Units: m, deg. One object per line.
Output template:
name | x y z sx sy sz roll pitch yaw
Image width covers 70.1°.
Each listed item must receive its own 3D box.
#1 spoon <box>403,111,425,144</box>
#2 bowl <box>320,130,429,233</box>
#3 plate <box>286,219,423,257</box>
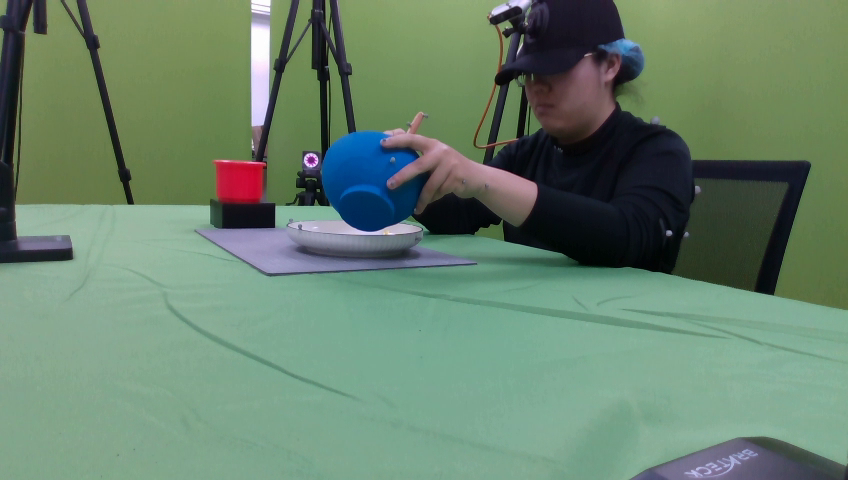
spoon | -0.046 -0.122 0.914 0.041 0.194 0.022 15 -29 30
bowl | -0.072 -0.063 0.810 0.151 0.151 0.076 3 45 6
plate | -0.105 -0.003 0.922 0.208 0.039 0.207 3 7 0
